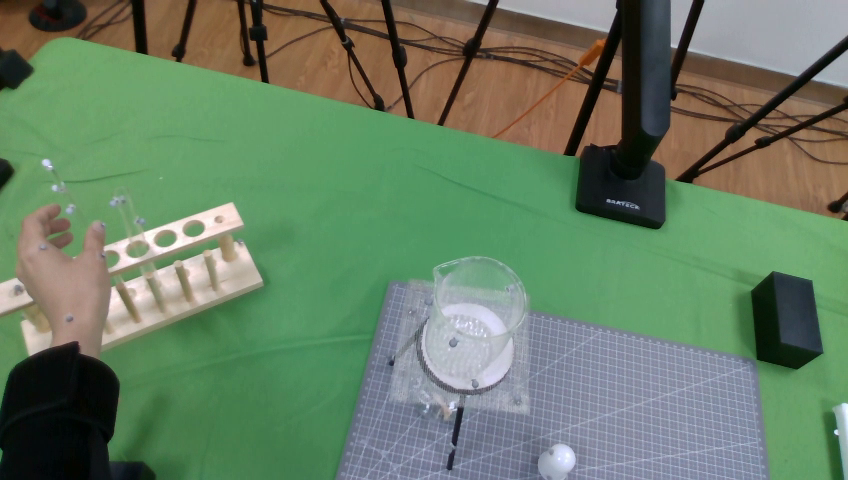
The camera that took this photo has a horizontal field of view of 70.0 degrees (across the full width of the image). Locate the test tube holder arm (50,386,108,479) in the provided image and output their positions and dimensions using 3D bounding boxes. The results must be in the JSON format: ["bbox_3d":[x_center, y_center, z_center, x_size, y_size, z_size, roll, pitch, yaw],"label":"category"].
[{"bbox_3d":[-0.317,0.211,0.521,0.013,0.015,0.177,14,55,2],"label":"test tube holder arm"}]

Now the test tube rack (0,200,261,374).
[{"bbox_3d":[-0.307,0.048,0.648,0.243,0.086,0.066,-23,62,-21],"label":"test tube rack"}]

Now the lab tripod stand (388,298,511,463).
[{"bbox_3d":[0.031,0.132,0.604,0.148,0.132,0.147,4,57,-6],"label":"lab tripod stand"}]

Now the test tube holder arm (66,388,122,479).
[{"bbox_3d":[-0.301,0.177,0.546,0.010,0.015,0.087,15,55,3],"label":"test tube holder arm"}]

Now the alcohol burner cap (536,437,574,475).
[{"bbox_3d":[0.135,0.218,0.616,0.034,0.048,0.033,2,59,-3],"label":"alcohol burner cap"}]

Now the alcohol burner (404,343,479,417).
[{"bbox_3d":[0.020,0.135,0.613,0.078,0.120,0.077,5,56,-6],"label":"alcohol burner"}]

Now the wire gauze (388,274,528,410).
[{"bbox_3d":[0.035,0.092,0.552,0.121,0.011,0.124,7,60,-1],"label":"wire gauze"}]

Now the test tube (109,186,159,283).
[{"bbox_3d":[-0.295,0.000,0.622,0.017,0.151,0.017,5,51,-6],"label":"test tube"}]

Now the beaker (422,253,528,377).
[{"bbox_3d":[0.035,0.066,0.510,0.083,0.101,0.074,34,59,15],"label":"beaker"}]

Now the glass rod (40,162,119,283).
[{"bbox_3d":[-0.330,-0.001,0.597,0.008,0.201,0.008,1,50,-1],"label":"glass rod"}]

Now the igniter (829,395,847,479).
[{"bbox_3d":[0.450,0.292,0.619,0.057,0.025,0.274,20,56,-6],"label":"igniter"}]
